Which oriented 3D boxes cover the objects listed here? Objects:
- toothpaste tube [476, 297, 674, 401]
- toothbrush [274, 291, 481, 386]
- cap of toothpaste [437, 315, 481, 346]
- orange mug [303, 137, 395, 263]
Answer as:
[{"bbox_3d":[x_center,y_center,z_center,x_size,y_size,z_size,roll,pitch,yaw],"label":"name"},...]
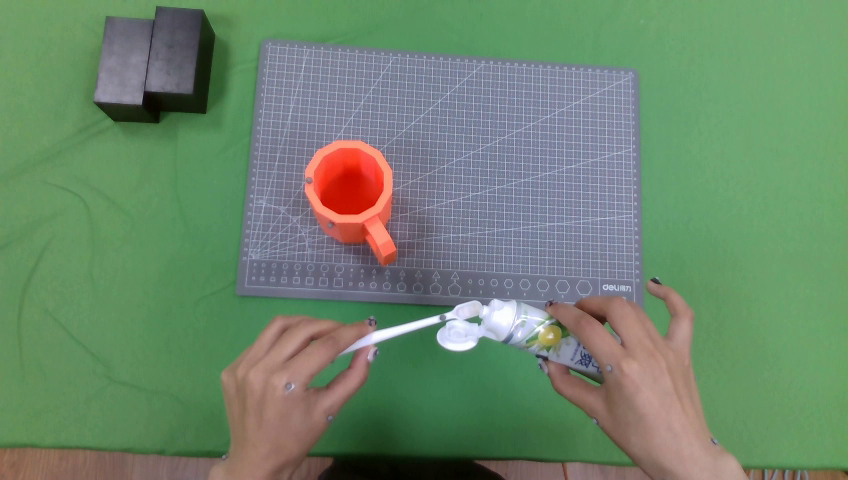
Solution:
[{"bbox_3d":[0.118,0.083,0.486,0.165,0.034,0.055,19,101,-6],"label":"toothpaste tube"},{"bbox_3d":[-0.039,0.081,0.493,0.182,0.014,0.016,-22,73,3],"label":"toothbrush"},{"bbox_3d":[0.028,0.071,0.488,0.037,0.037,0.011,-1,124,1],"label":"cap of toothpaste"},{"bbox_3d":[-0.069,-0.036,0.630,0.083,0.101,0.125,-31,78,-10],"label":"orange mug"}]
